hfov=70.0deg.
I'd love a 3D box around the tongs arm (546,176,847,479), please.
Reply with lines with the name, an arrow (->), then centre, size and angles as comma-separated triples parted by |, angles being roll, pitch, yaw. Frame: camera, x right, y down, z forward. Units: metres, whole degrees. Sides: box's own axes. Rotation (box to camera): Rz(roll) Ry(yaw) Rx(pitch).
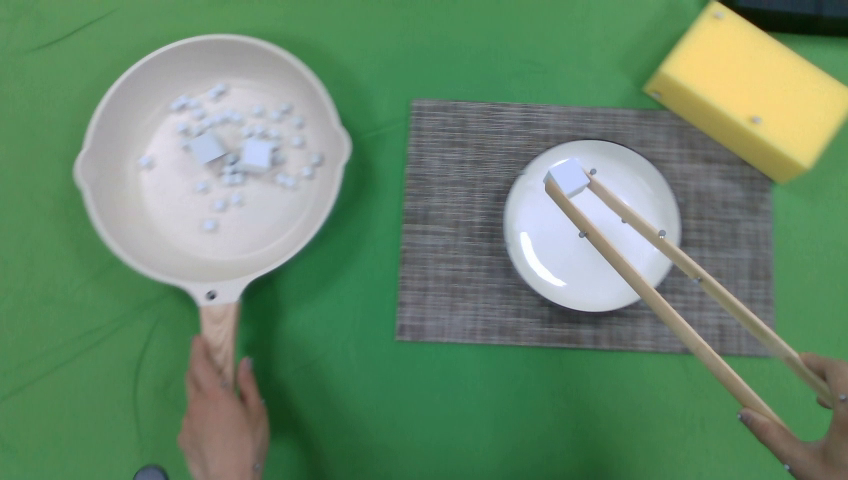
tongs arm -> 0.235, 0.071, 0.535 | 0.028, 0.028, 0.383 | -30, 61, -15

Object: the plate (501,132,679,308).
plate -> 0.193, -0.023, 0.720 | 0.208, 0.039, 0.207 | 0, 82, 0

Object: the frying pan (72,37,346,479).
frying pan -> -0.232, 0.011, 0.681 | 0.307, 0.103, 0.484 | -5, 73, -1

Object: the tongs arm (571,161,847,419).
tongs arm -> 0.254, 0.059, 0.540 | 0.051, 0.027, 0.381 | -36, 62, -15

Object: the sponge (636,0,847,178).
sponge -> 0.384, -0.185, 0.735 | 0.206, 0.061, 0.118 | 35, 81, 6
